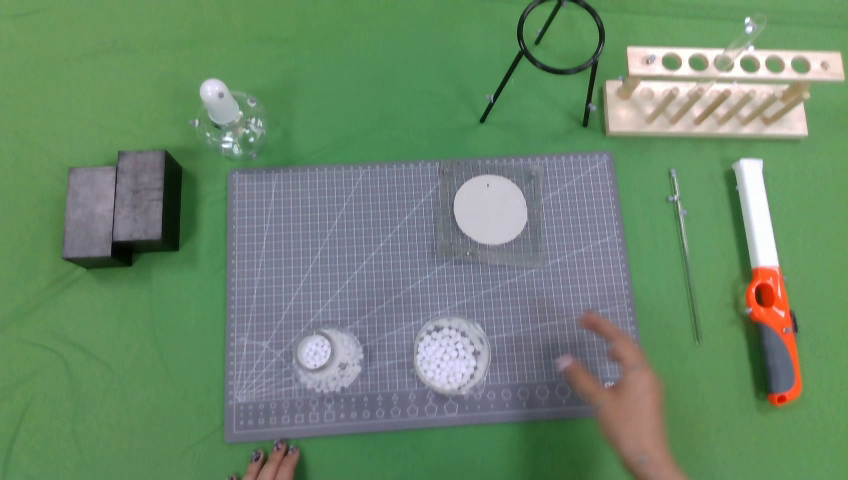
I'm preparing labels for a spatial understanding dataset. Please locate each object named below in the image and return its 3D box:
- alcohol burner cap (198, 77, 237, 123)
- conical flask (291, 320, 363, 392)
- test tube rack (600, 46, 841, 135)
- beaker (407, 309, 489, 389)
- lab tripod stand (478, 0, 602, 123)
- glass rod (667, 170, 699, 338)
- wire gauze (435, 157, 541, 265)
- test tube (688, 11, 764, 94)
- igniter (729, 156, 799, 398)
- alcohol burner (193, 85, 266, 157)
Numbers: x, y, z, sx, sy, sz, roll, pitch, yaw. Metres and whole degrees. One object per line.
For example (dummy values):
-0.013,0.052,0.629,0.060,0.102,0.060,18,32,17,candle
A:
-0.213,-0.147,0.621,0.034,0.048,0.033,1,70,-2,alcohol burner cap
-0.101,0.110,0.594,0.075,0.122,0.075,1,76,-2,conical flask
0.338,-0.171,0.703,0.242,0.085,0.066,0,76,-2,test tube rack
0.024,0.115,0.610,0.074,0.100,0.083,-39,81,-10,beaker
0.132,-0.193,0.675,0.148,0.132,0.147,0,78,-2,lab tripod stand
0.297,0.013,0.696,0.008,0.008,0.198,-2,76,-3,glass rod
0.075,-0.036,0.696,0.125,0.011,0.121,5,76,-4,wire gauze
0.323,-0.197,0.658,0.017,0.151,0.017,0,76,1,test tube
0.383,0.037,0.685,0.057,0.025,0.275,1,76,-12,igniter
-0.215,-0.136,0.655,0.078,0.119,0.077,0,77,-1,alcohol burner
